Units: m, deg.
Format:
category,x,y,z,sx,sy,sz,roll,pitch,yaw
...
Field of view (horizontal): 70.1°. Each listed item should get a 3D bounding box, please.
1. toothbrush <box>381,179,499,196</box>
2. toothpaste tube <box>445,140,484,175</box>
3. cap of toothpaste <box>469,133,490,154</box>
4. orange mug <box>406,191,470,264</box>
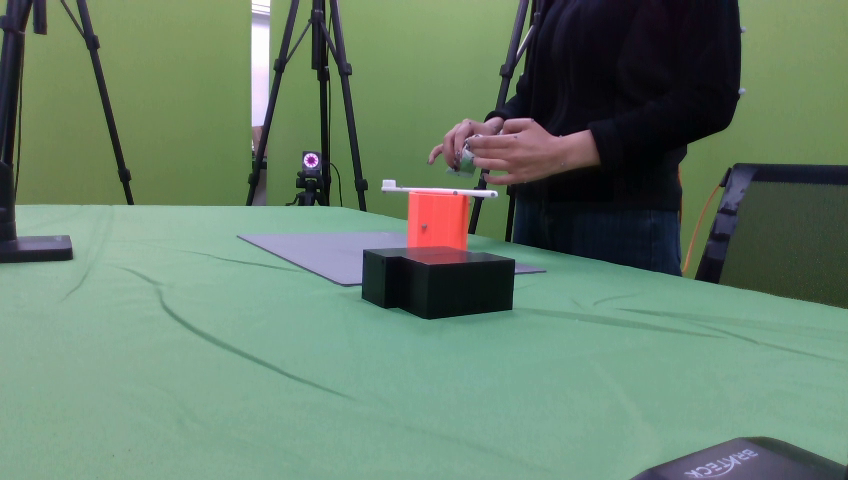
category,x,y,z,sx,sy,sz,roll,pitch,yaw
toothbrush,0.019,-0.073,0.841,0.181,0.016,0.014,6,3,27
toothpaste tube,0.081,-0.146,1.089,0.055,0.034,0.165,15,-12,-7
cap of toothpaste,0.092,-0.161,1.011,0.037,0.037,0.011,0,-6,-14
orange mug,0.027,-0.023,0.866,0.083,0.101,0.126,6,12,24
